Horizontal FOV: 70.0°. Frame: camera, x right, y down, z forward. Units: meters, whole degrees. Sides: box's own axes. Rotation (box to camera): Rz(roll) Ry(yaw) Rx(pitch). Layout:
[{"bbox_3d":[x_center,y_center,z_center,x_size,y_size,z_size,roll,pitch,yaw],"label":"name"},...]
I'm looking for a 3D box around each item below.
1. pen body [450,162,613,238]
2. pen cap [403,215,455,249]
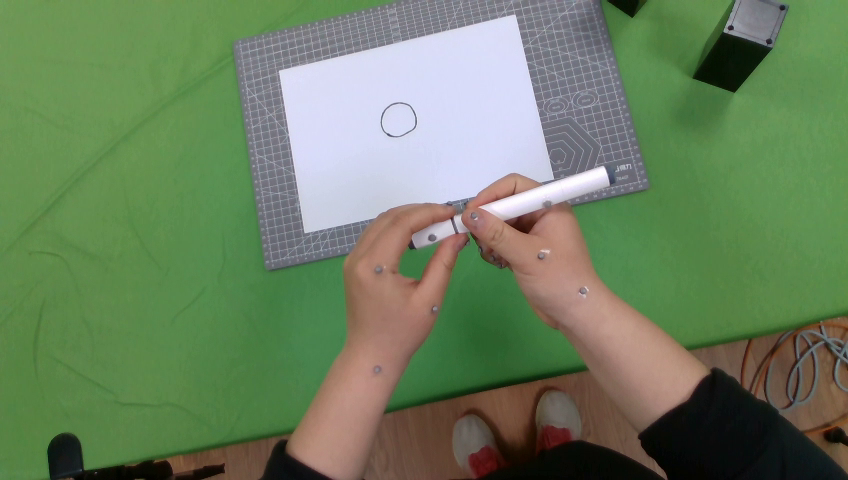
[{"bbox_3d":[0.062,-0.023,0.431,0.144,0.017,0.017,-20,78,11],"label":"pen body"},{"bbox_3d":[0.004,-0.005,0.440,0.038,0.017,0.017,-18,78,0],"label":"pen cap"}]
